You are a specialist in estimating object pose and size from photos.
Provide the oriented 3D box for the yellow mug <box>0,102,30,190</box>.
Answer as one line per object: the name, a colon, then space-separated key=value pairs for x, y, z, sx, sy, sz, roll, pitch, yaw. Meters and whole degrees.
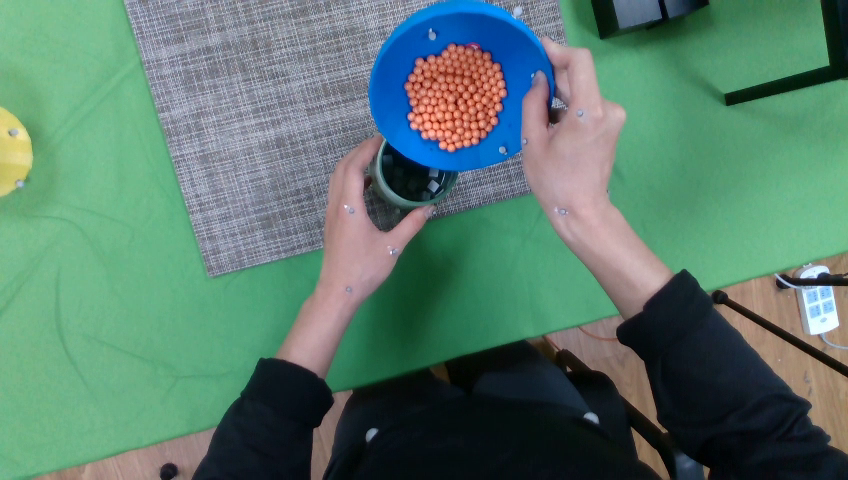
yellow mug: x=-0.455 y=-0.079 z=0.586 sx=0.100 sy=0.064 sz=0.131 roll=18 pitch=94 yaw=-10

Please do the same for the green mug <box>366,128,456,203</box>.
green mug: x=-0.012 y=-0.100 z=0.623 sx=0.093 sy=0.104 sz=0.125 roll=2 pitch=96 yaw=-7

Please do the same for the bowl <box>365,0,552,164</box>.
bowl: x=0.028 y=-0.147 z=0.511 sx=0.151 sy=0.076 sz=0.153 roll=0 pitch=137 yaw=1
